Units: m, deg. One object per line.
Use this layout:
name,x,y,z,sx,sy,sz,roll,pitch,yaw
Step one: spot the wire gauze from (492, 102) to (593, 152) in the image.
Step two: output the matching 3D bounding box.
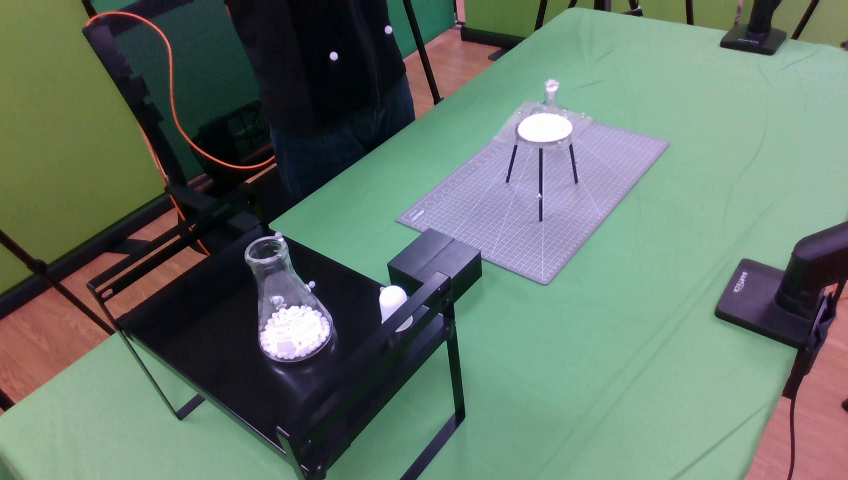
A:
wire gauze,0.190,-0.180,0.964,0.120,0.011,0.125,19,47,27

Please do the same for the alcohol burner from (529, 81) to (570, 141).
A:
alcohol burner,0.241,-0.251,1.159,0.078,0.119,0.077,-3,42,4

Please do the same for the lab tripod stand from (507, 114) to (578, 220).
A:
lab tripod stand,0.198,-0.128,1.005,0.148,0.132,0.147,-3,42,3

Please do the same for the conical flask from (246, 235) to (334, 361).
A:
conical flask,-0.134,0.053,0.576,0.075,0.122,0.075,-5,40,4

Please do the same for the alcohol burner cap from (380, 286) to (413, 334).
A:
alcohol burner cap,-0.029,0.068,0.605,0.034,0.048,0.033,-5,40,4
